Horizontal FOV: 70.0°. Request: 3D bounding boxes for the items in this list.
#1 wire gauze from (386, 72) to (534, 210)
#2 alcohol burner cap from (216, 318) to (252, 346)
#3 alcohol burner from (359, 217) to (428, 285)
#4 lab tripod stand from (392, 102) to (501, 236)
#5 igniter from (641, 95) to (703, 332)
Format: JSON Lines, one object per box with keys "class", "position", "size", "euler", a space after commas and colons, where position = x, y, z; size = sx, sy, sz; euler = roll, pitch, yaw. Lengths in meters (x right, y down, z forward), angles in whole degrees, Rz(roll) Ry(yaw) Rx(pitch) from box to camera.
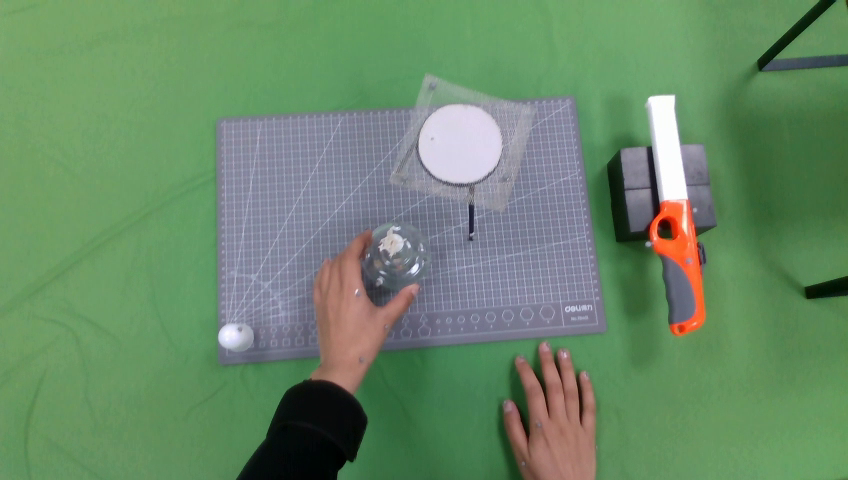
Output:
{"class": "wire gauze", "position": [0.038, -0.101, 0.613], "size": [0.121, 0.011, 0.124], "euler": [18, 77, 2]}
{"class": "alcohol burner cap", "position": [-0.215, 0.101, 0.677], "size": [0.034, 0.048, 0.033], "euler": [1, 78, -2]}
{"class": "alcohol burner", "position": [-0.034, 0.010, 0.667], "size": [0.078, 0.119, 0.077], "euler": [0, 80, -1]}
{"class": "lab tripod stand", "position": [0.034, -0.089, 0.679], "size": [0.148, 0.132, 0.147], "euler": [0, 76, -1]}
{"class": "igniter", "position": [0.278, -0.035, 0.685], "size": [0.057, 0.025, 0.275], "euler": [-2, 77, 1]}
